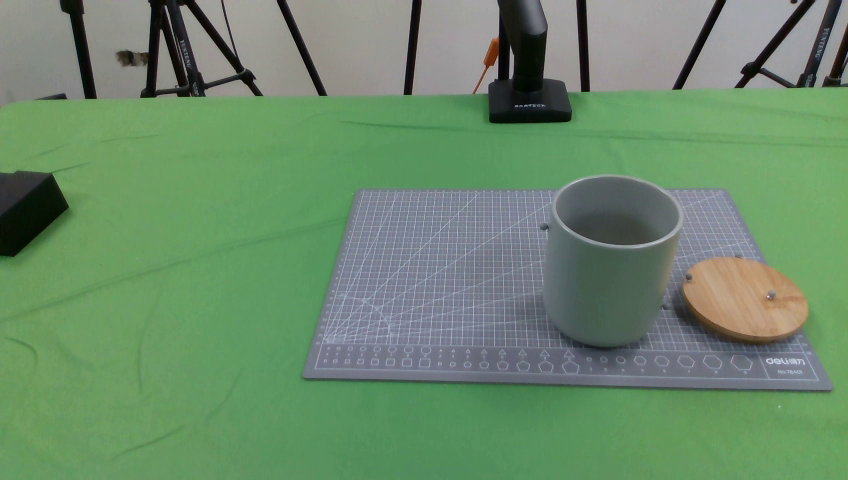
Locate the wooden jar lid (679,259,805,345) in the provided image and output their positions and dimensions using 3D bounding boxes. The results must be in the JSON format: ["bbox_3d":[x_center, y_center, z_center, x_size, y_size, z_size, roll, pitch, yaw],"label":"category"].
[{"bbox_3d":[0.296,0.059,0.571,0.108,0.021,0.107,-2,37,2],"label":"wooden jar lid"}]

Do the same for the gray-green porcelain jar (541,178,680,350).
[{"bbox_3d":[0.159,0.026,0.537,0.106,0.127,0.105,-2,39,2],"label":"gray-green porcelain jar"}]
